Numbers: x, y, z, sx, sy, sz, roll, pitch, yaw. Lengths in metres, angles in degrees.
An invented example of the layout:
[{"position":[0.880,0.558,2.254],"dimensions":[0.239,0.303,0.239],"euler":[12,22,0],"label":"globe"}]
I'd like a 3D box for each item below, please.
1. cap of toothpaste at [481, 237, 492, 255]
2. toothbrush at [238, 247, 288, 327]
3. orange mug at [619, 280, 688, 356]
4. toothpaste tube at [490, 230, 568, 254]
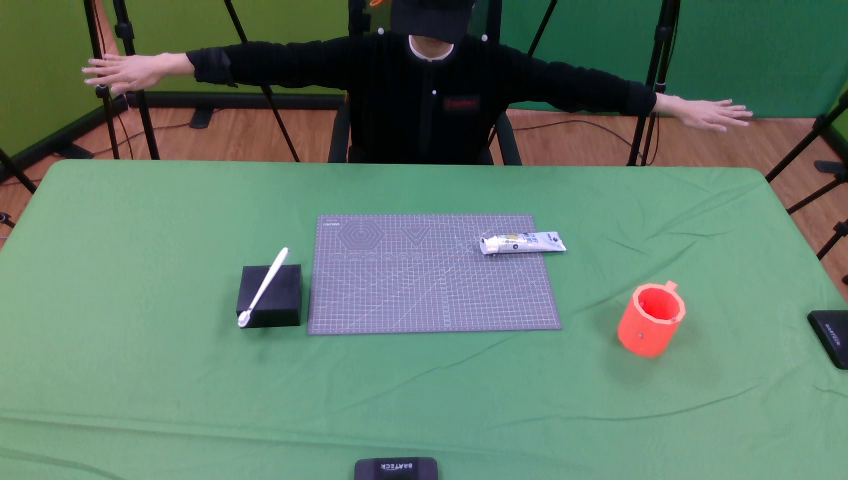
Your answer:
[{"position":[0.122,0.011,1.176],"dimensions":[0.011,0.037,0.037],"euler":[-16,49,-16],"label":"cap of toothpaste"},{"position":[-0.274,0.075,1.040],"dimensions":[0.014,0.017,0.181],"euler":[11,46,10],"label":"toothbrush"},{"position":[0.401,0.125,1.045],"dimensions":[0.083,0.101,0.126],"euler":[30,56,24],"label":"orange mug"},{"position":[0.201,0.006,1.195],"dimensions":[0.165,0.034,0.054],"euler":[-5,51,-14],"label":"toothpaste tube"}]
